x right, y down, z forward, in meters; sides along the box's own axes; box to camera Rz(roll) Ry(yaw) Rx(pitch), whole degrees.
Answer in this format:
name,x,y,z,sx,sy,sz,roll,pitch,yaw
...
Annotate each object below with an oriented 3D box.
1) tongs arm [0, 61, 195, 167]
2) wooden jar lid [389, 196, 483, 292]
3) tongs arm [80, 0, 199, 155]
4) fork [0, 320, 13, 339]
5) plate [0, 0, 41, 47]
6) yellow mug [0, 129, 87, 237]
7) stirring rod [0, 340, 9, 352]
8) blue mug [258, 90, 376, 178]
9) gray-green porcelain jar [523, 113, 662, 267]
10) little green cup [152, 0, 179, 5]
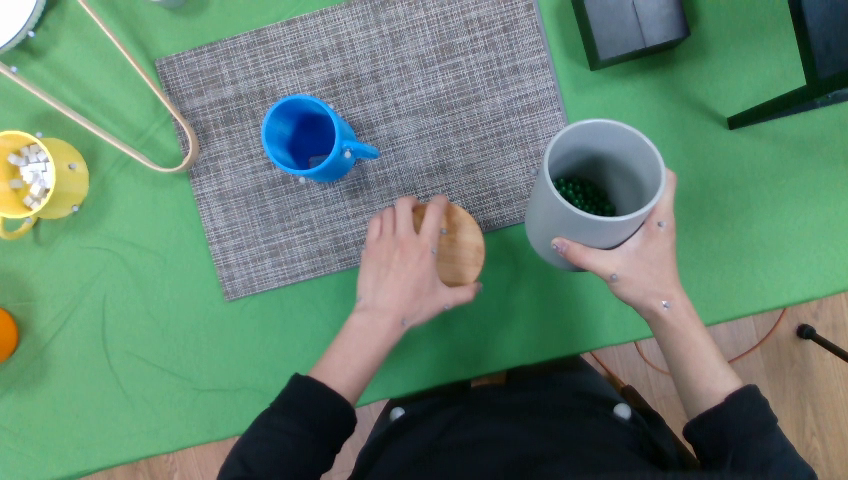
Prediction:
name,x,y,z,sx,sy,sz,roll,pitch,yaw
tongs arm,-0.445,-0.194,0.700,0.386,0.026,0.051,36,90,-7
wooden jar lid,0.015,0.004,0.681,0.108,0.021,0.108,2,96,18
tongs arm,-0.389,-0.258,0.697,0.028,0.027,0.388,-40,97,-5
fork,-0.592,0.115,0.686,0.208,0.018,0.028,-4,92,-41
plate,-0.545,-0.320,0.717,0.207,0.039,0.207,0,94,3
yellow mug,-0.470,-0.063,0.714,0.100,0.064,0.131,23,95,1
stirring rod,-0.579,0.130,0.689,0.006,0.177,0.014,-22,74,46
blue mug,-0.110,-0.111,0.671,0.116,0.106,0.082,10,93,2
gray-green porcelain jar,0.152,-0.040,0.576,0.106,0.127,0.105,0,65,0
little green cup,-0.309,-0.307,0.706,0.061,0.038,0.061,0,94,2
